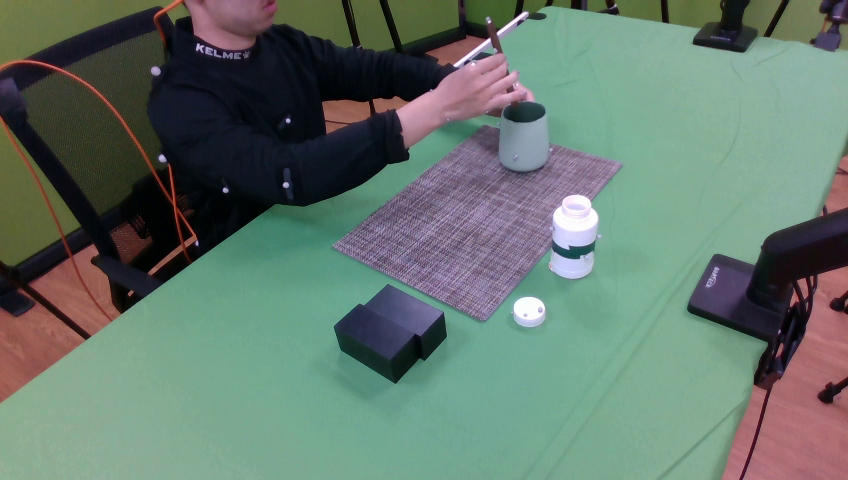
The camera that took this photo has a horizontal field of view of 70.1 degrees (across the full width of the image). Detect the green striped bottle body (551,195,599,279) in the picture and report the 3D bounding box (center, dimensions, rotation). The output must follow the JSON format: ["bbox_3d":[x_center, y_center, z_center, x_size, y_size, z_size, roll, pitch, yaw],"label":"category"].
[{"bbox_3d":[0.216,-0.006,0.870,0.063,0.120,0.063,-4,41,4],"label":"green striped bottle body"}]

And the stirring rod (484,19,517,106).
[{"bbox_3d":[0.125,-0.280,0.969,0.005,0.177,0.014,27,72,36],"label":"stirring rod"}]

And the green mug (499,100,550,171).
[{"bbox_3d":[0.183,-0.197,1.101,0.092,0.105,0.125,0,41,9],"label":"green mug"}]

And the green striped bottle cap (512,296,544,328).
[{"bbox_3d":[0.144,0.099,0.837,0.044,0.020,0.044,-1,43,2],"label":"green striped bottle cap"}]
